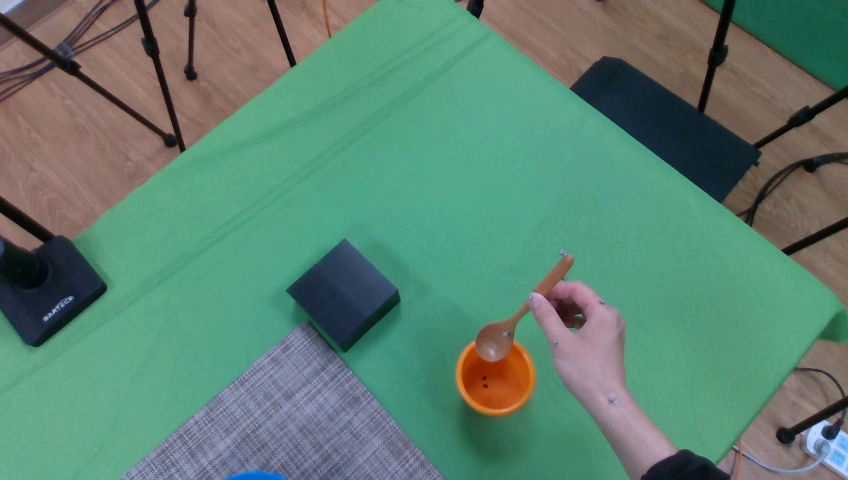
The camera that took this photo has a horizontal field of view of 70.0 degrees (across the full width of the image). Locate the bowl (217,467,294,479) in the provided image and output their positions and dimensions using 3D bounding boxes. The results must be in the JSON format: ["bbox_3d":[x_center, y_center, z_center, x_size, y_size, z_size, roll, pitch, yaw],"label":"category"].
[{"bbox_3d":[-0.181,0.329,0.665,0.151,0.077,0.150,0,69,2],"label":"bowl"}]

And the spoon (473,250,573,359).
[{"bbox_3d":[0.100,0.071,0.624,0.041,0.194,0.021,44,51,11],"label":"spoon"}]
